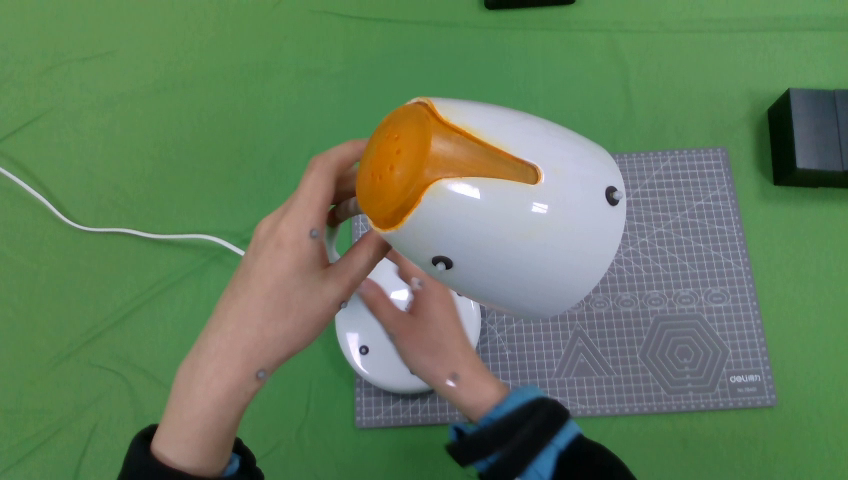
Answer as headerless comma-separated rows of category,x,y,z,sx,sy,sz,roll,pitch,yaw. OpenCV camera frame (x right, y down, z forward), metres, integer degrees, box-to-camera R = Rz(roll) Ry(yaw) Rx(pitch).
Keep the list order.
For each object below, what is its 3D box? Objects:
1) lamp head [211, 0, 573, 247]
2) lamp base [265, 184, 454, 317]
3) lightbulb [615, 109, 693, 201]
lamp head,-0.022,-0.057,0.247,0.124,0.112,0.112,6,82,-34
lamp base,-0.062,-0.012,0.536,0.179,0.180,0.160,5,84,3
lightbulb,0.227,-0.089,0.613,0.059,0.060,0.107,-24,69,-1
